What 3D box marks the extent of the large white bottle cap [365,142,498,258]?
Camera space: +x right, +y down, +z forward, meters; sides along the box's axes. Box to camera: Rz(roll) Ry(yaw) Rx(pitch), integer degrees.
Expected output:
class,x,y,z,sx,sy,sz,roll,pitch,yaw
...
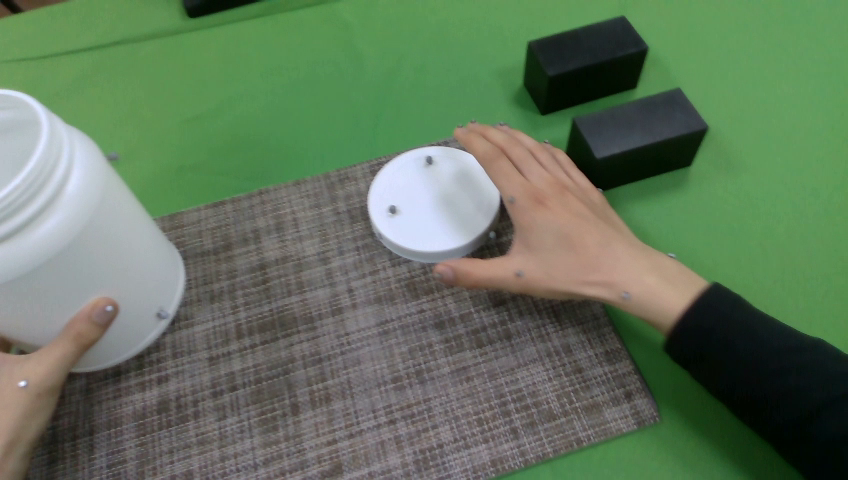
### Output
class,x,y,z,sx,sy,sz,roll,pitch,yaw
large white bottle cap,0.007,-0.037,0.524,0.115,0.018,0.114,-1,58,3

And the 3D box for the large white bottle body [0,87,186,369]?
class,x,y,z,sx,sy,sz,roll,pitch,yaw
large white bottle body,-0.264,-0.002,0.422,0.130,0.186,0.129,-2,57,3
